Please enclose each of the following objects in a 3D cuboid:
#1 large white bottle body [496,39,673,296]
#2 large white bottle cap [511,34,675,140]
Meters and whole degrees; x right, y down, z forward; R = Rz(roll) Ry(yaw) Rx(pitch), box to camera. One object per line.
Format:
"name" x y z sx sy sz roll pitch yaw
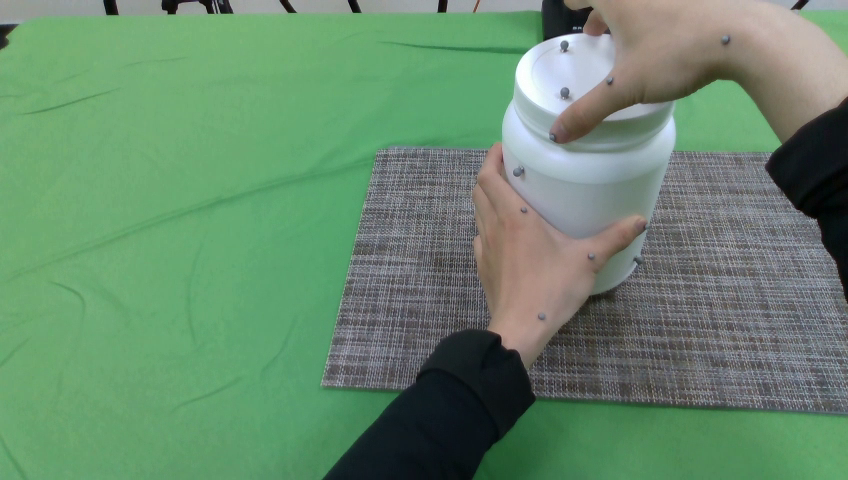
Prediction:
"large white bottle body" 0.127 -0.056 0.501 0.130 0.186 0.129 -2 48 3
"large white bottle cap" 0.121 -0.114 0.438 0.115 0.018 0.113 -2 48 2
